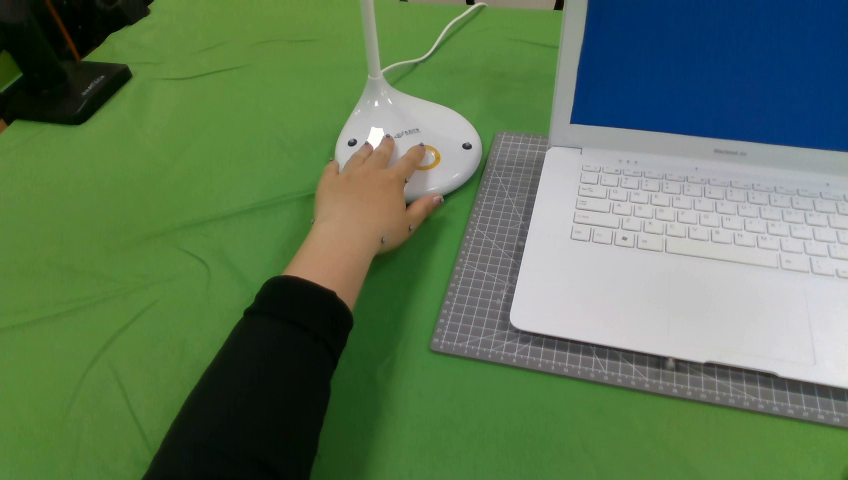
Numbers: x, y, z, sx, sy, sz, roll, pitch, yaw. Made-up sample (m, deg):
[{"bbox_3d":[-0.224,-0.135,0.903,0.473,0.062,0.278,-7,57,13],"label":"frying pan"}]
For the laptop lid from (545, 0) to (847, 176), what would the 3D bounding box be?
[{"bbox_3d":[0.292,-0.163,0.529,0.355,0.244,0.013,7,41,14],"label":"laptop lid"}]

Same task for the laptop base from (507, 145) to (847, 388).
[{"bbox_3d":[0.265,0.015,0.529,0.353,0.023,0.234,8,52,13],"label":"laptop base"}]

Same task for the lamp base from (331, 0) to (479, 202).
[{"bbox_3d":[-0.034,-0.157,0.606,0.161,0.182,0.177,-30,49,-21],"label":"lamp base"}]
